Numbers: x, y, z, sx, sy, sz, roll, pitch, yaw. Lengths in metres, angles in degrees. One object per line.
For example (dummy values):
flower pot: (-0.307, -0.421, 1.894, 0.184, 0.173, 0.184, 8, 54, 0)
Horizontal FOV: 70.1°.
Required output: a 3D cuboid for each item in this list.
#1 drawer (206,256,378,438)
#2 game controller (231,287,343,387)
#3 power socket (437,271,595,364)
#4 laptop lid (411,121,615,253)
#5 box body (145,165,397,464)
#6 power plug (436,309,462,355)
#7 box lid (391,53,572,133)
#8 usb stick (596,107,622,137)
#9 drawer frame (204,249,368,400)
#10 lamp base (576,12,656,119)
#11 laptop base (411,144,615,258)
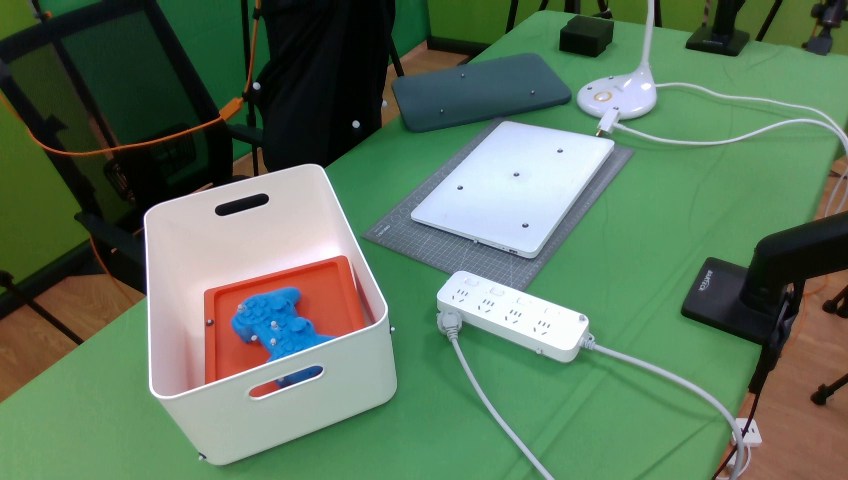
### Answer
drawer: (-0.177, 0.130, 0.787, 0.195, 0.073, 0.210, -14, 39, -9)
game controller: (-0.167, 0.110, 0.734, 0.097, 0.052, 0.154, -35, 47, -22)
power socket: (0.118, 0.102, 0.830, 0.225, 0.033, 0.072, 20, 48, 28)
laptop lid: (0.164, -0.112, 1.068, 0.240, 0.013, 0.357, 19, 46, 31)
box body: (-0.205, 0.080, 0.802, 0.255, 0.161, 0.361, -18, 41, -13)
power plug: (0.032, 0.126, 0.810, 0.035, 0.053, 0.072, 3, 59, 7)
box lid: (0.122, -0.339, 1.366, 0.372, 0.015, 0.261, -12, 40, -5)
usb stick: (0.355, -0.223, 1.168, 0.027, 0.059, 0.022, 37, 14, 34)
drawer frame: (-0.174, 0.129, 0.790, 0.202, 0.083, 0.212, -16, 45, -8)
lamp base: (0.404, -0.359, 1.218, 0.180, 0.181, 0.159, -24, 43, -22)
laptop base: (0.167, -0.102, 1.075, 0.234, 0.023, 0.355, 16, 45, 30)
